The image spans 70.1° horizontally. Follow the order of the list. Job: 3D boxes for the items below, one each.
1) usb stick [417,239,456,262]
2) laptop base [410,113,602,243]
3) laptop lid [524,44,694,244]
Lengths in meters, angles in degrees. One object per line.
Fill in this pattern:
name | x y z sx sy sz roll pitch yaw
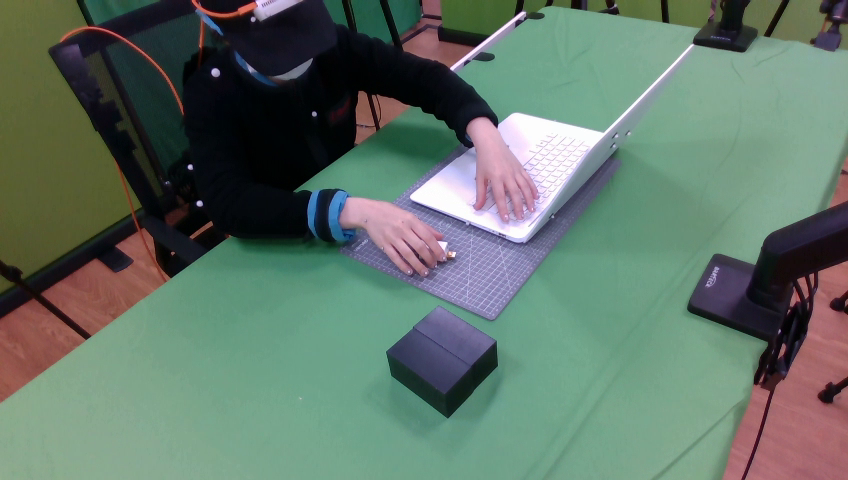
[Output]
usb stick | 0.021 0.017 0.938 0.059 0.027 0.021 9 44 12
laptop base | 0.171 -0.127 1.096 0.233 0.023 0.355 21 47 33
laptop lid | 0.290 -0.151 0.941 0.013 0.241 0.358 40 54 12
